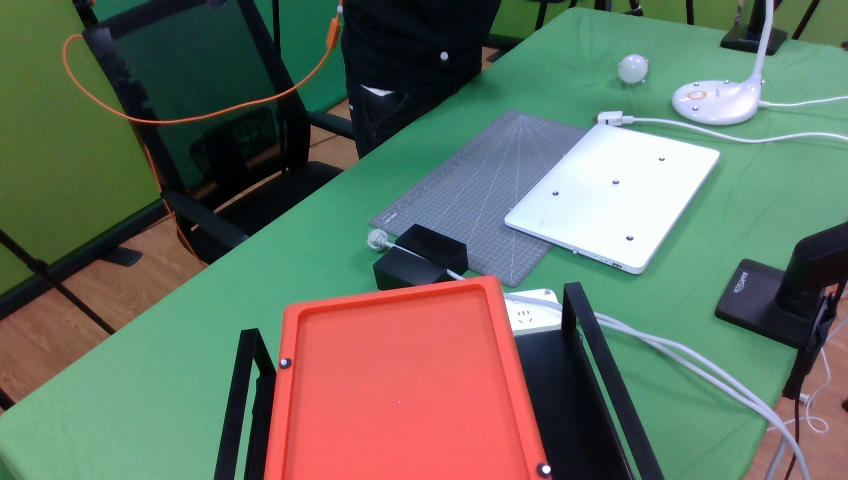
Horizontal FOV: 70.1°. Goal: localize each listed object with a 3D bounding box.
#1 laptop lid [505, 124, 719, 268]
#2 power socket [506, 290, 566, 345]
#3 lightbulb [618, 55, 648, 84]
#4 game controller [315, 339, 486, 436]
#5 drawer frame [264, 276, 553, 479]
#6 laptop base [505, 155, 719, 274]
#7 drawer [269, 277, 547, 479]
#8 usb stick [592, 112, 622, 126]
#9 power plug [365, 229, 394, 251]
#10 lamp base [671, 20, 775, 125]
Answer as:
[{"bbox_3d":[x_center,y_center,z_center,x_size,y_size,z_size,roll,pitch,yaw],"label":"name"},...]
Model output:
[{"bbox_3d":[0.323,-0.093,1.021,0.240,0.013,0.358,23,49,32],"label":"laptop lid"},{"bbox_3d":[0.081,0.112,0.822,0.227,0.033,0.072,-7,41,0],"label":"power socket"},{"bbox_3d":[0.464,-0.376,1.324,0.059,0.059,0.108,22,34,30],"label":"lightbulb"},{"bbox_3d":[-0.021,0.119,0.534,0.155,0.052,0.096,-3,39,1],"label":"game controller"},{"bbox_3d":[-0.016,0.137,0.490,0.202,0.083,0.212,-8,41,-2],"label":"drawer frame"},{"bbox_3d":[0.326,-0.083,1.028,0.233,0.023,0.355,21,48,32],"label":"laptop base"},{"bbox_3d":[-0.018,0.137,0.493,0.195,0.073,0.210,-7,41,-1],"label":"drawer"},{"bbox_3d":[0.360,-0.239,1.196,0.059,0.021,0.027,4,42,27],"label":"usb stick"},{"bbox_3d":[-0.067,0.010,0.954,0.035,0.053,0.072,-42,53,1],"label":"power plug"},{"bbox_3d":[0.582,-0.332,1.153,0.179,0.181,0.160,2,42,7],"label":"lamp base"}]
